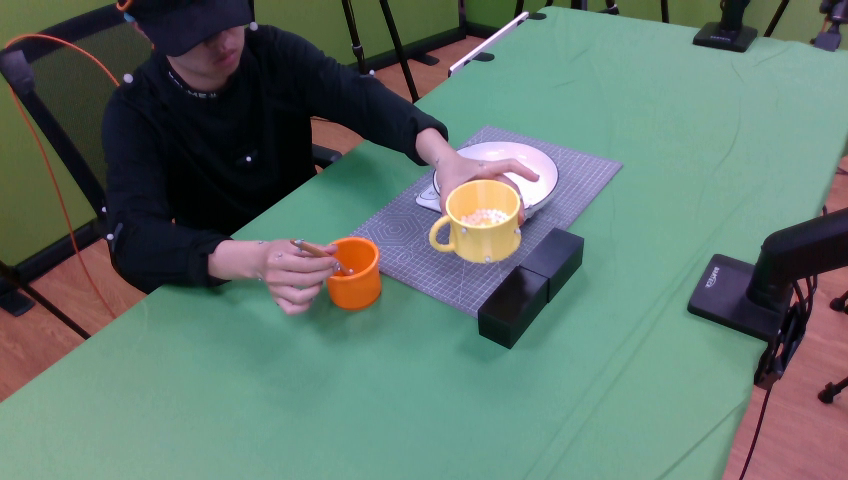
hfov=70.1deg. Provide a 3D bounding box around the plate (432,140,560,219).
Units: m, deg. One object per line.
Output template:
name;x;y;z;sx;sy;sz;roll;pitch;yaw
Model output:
plate;0.118;-0.094;0.999;0.209;0.038;0.208;-5;41;4

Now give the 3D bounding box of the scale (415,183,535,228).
scale;0.099;-0.080;1.035;0.199;0.032;0.149;23;48;31

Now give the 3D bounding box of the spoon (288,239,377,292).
spoon;-0.121;0.035;0.819;0.041;0.195;0.021;19;75;34

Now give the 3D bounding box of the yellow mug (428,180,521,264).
yellow mug;0.065;-0.020;0.808;0.131;0.064;0.099;-21;45;-14
